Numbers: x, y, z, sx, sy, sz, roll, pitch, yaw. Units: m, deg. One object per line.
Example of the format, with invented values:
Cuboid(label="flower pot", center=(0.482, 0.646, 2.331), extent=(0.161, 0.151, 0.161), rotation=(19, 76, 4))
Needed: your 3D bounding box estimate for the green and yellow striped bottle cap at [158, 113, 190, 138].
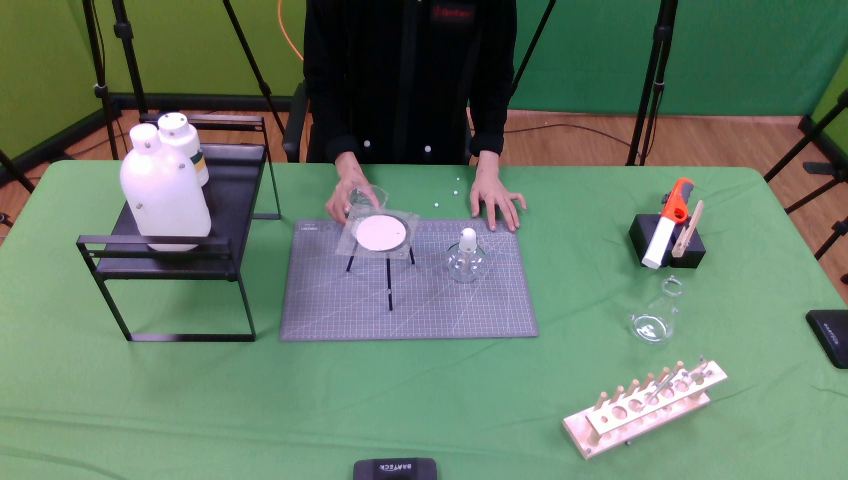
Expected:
Cuboid(label="green and yellow striped bottle cap", center=(-0.393, -0.180, 0.951), extent=(0.045, 0.020, 0.045), rotation=(2, 44, -2))

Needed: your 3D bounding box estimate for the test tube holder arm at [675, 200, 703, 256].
Cuboid(label="test tube holder arm", center=(0.523, -0.025, 1.190), extent=(0.013, 0.015, 0.178), rotation=(0, 36, 42))

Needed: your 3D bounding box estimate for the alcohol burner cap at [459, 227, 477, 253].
Cuboid(label="alcohol burner cap", center=(0.079, -0.002, 1.088), extent=(0.034, 0.048, 0.033), rotation=(-1, 54, 2))

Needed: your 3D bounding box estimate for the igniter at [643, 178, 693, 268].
Cuboid(label="igniter", center=(0.488, -0.042, 1.205), extent=(0.057, 0.025, 0.276), rotation=(30, 51, 11))

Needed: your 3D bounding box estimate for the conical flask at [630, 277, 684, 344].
Cuboid(label="conical flask", center=(0.408, 0.117, 1.045), extent=(0.075, 0.122, 0.075), rotation=(2, 46, -2))

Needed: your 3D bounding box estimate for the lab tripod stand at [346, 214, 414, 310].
Cuboid(label="lab tripod stand", center=(-0.075, 0.030, 1.082), extent=(0.148, 0.132, 0.147), rotation=(1, 47, -1))

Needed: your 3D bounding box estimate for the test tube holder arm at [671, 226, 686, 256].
Cuboid(label="test tube holder arm", center=(0.494, 0.001, 1.167), extent=(0.010, 0.015, 0.087), rotation=(1, 36, 42))

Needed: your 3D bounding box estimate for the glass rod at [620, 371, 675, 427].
Cuboid(label="glass rod", center=(0.315, 0.230, 0.863), extent=(0.008, 0.200, 0.008), rotation=(3, 54, -3))

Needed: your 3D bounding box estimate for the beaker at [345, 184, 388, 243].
Cuboid(label="beaker", center=(-0.110, -0.050, 1.177), extent=(0.084, 0.101, 0.073), rotation=(-16, 54, -18))

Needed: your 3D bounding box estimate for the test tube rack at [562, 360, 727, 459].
Cuboid(label="test tube rack", center=(0.341, 0.247, 0.940), extent=(0.243, 0.085, 0.066), rotation=(-16, 49, -19))

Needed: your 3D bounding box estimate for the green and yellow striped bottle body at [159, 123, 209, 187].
Cuboid(label="green and yellow striped bottle body", center=(-0.395, -0.145, 0.989), extent=(0.063, 0.120, 0.063), rotation=(2, 46, -2))

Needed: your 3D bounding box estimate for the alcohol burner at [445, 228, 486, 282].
Cuboid(label="alcohol burner", center=(0.077, 0.021, 1.115), extent=(0.078, 0.120, 0.077), rotation=(1, 48, -1))

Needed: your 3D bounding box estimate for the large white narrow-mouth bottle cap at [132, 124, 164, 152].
Cuboid(label="large white narrow-mouth bottle cap", center=(-0.371, -0.137, 0.813), extent=(0.038, 0.024, 0.037), rotation=(3, 46, -3))

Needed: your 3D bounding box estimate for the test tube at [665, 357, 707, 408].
Cuboid(label="test tube", center=(0.387, 0.215, 0.905), extent=(0.017, 0.151, 0.017), rotation=(1, 52, -1))

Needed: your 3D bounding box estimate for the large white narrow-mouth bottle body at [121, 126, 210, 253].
Cuboid(label="large white narrow-mouth bottle body", center=(-0.378, -0.077, 0.875), extent=(0.102, 0.195, 0.101), rotation=(3, 46, -3))

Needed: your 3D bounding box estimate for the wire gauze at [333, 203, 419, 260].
Cuboid(label="wire gauze", center=(-0.079, -0.014, 1.030), extent=(0.121, 0.011, 0.124), rotation=(8, 46, 6))
